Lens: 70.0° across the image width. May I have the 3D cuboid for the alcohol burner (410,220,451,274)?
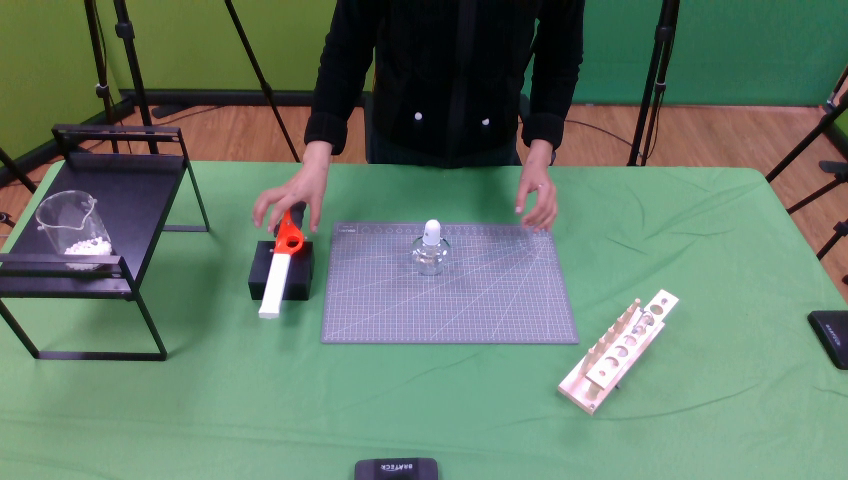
[{"bbox_3d":[0.013,0.008,1.120,0.078,0.120,0.077,1,47,-1],"label":"alcohol burner"}]

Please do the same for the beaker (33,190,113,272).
[{"bbox_3d":[-0.493,-0.009,0.864,0.083,0.101,0.074,37,55,27],"label":"beaker"}]

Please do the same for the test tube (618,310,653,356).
[{"bbox_3d":[0.329,0.156,0.955,0.017,0.151,0.017,1,51,-2],"label":"test tube"}]

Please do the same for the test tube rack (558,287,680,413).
[{"bbox_3d":[0.326,0.170,1.009,0.066,0.085,0.242,36,54,26],"label":"test tube rack"}]

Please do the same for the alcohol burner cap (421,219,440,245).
[{"bbox_3d":[0.013,-0.018,1.094,0.034,0.048,0.033,5,43,-5],"label":"alcohol burner cap"}]

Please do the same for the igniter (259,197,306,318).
[{"bbox_3d":[-0.252,0.021,1.088,0.057,0.025,0.275,5,48,-3],"label":"igniter"}]
